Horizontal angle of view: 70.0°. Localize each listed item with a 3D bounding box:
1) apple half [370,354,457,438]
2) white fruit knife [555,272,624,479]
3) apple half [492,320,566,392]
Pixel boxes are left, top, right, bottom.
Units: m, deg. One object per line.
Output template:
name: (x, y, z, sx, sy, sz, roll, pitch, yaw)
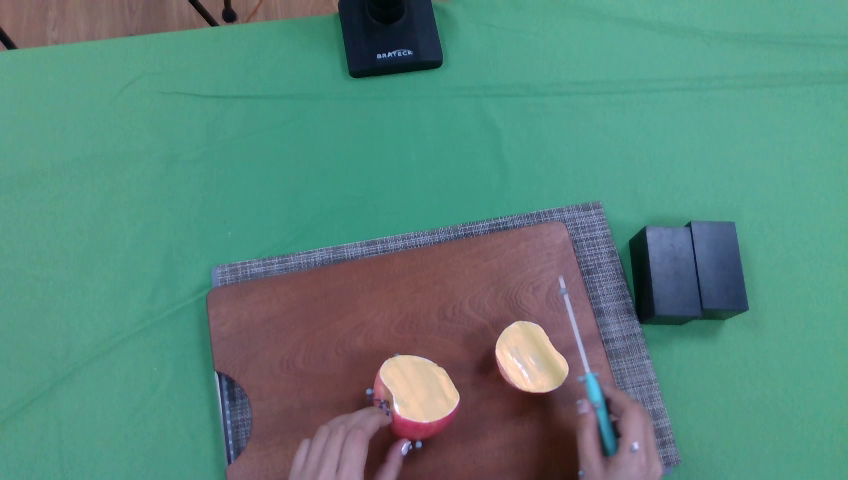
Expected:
apple half: (-0.014, 0.156, 0.587, 0.075, 0.053, 0.080, -6, 43, -34)
white fruit knife: (0.151, 0.130, 0.566, 0.016, 0.027, 0.206, -17, 83, 13)
apple half: (0.099, 0.123, 0.614, 0.081, 0.033, 0.080, 12, 51, -15)
